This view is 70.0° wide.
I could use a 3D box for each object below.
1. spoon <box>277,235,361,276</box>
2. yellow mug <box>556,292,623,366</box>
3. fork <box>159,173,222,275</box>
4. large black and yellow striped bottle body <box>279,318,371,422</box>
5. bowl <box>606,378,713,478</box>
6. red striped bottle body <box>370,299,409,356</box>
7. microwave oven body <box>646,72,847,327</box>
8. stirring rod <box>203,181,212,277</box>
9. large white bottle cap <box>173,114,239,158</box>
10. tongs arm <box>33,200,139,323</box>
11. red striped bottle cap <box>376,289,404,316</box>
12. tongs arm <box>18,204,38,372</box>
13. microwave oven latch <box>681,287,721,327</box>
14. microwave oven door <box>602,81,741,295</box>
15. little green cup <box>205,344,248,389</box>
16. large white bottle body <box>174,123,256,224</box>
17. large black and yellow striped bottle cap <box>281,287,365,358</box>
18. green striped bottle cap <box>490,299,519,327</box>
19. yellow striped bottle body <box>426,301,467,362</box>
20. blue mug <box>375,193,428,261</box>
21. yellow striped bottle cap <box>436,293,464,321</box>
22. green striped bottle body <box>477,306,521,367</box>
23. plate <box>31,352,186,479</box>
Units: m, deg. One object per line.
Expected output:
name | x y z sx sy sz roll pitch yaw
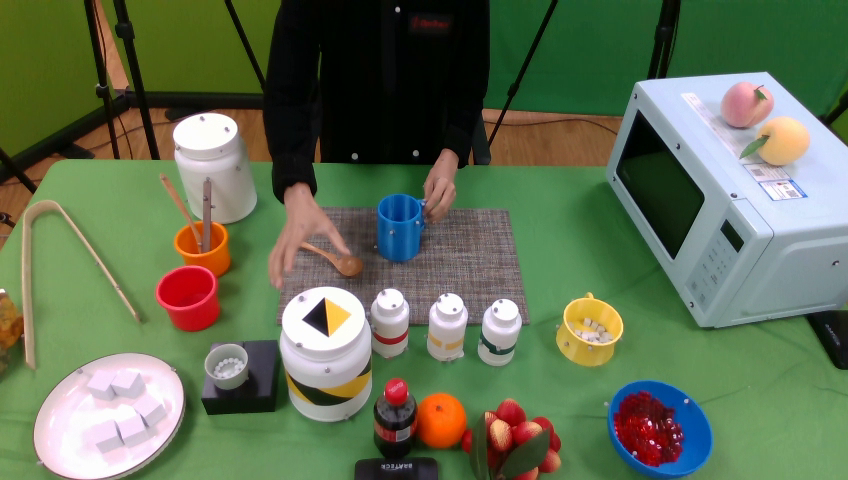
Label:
spoon | -0.202 0.023 1.155 0.193 0.022 0.041 23 70 17
yellow mug | 0.285 0.145 1.051 0.100 0.064 0.130 7 45 3
fork | -0.427 -0.029 1.103 0.028 0.018 0.207 -31 99 -30
large black and yellow striped bottle body | -0.145 0.173 0.907 0.131 0.185 0.130 2 46 -2
bowl | 0.340 0.292 0.906 0.151 0.077 0.150 2 46 -2
red striped bottle body | -0.058 0.135 0.996 0.063 0.120 0.062 3 48 -4
microwave oven body | 0.607 -0.089 1.164 0.326 0.261 0.438 -7 46 -10
stirring rod | -0.396 -0.021 1.108 0.014 0.006 0.176 -1 89 -1
large white bottle cap | -0.403 -0.195 1.122 0.115 0.018 0.114 3 47 -2
tongs arm | -0.623 0.035 1.105 0.051 0.026 0.382 -33 56 -25
red striped bottle cap | -0.054 0.098 0.958 0.044 0.018 0.044 0 48 0
tongs arm | -0.698 0.071 1.070 0.028 0.028 0.385 -21 51 -12
microwave oven latch | 0.494 0.119 1.087 0.030 0.029 0.078 -6 46 -9
microwave oven door | 0.456 -0.107 1.162 0.039 0.245 0.353 -7 47 -11
little green cup | -0.294 0.191 0.909 0.061 0.039 0.061 1 47 -1
large white bottle body | -0.408 -0.137 1.183 0.131 0.185 0.130 2 46 -2
large black and yellow striped bottle cap | -0.141 0.112 0.847 0.115 0.019 0.114 5 45 -4
green striped bottle cap | 0.128 0.115 0.958 0.044 0.020 0.044 2 46 -2
yellow striped bottle body | 0.037 0.142 0.996 0.063 0.121 0.062 2 46 -2
blue mug | -0.039 -0.030 1.162 0.116 0.106 0.082 -30 55 -29
yellow striped bottle cap | 0.041 0.106 0.959 0.044 0.019 0.044 -1 49 1
green striped bottle body | 0.124 0.151 0.995 0.063 0.120 0.063 2 46 -2
plate | -0.459 0.262 0.898 0.209 0.038 0.208 2 46 -2
